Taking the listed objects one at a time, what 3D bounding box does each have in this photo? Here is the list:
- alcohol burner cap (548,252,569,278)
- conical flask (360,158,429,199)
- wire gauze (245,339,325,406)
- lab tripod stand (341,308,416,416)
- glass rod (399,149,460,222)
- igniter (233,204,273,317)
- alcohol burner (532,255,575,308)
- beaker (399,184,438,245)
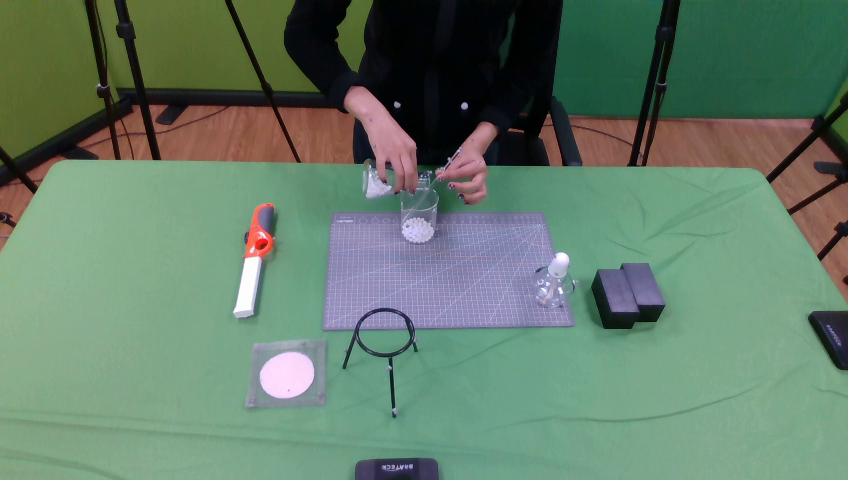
[{"bbox_3d":[0.238,0.042,1.060,0.034,0.048,0.033,1,53,-1],"label":"alcohol burner cap"},{"bbox_3d":[-0.053,-0.111,1.116,0.122,0.075,0.075,1,45,-15],"label":"conical flask"},{"bbox_3d":[-0.224,0.214,0.984,0.125,0.011,0.120,-2,46,-5],"label":"wire gauze"},{"bbox_3d":[-0.061,0.177,0.946,0.148,0.132,0.147,2,44,-2],"label":"lab tripod stand"},{"bbox_3d":[0.007,-0.100,1.145,0.008,0.200,0.008,27,35,-21],"label":"glass rod"},{"bbox_3d":[-0.321,0.029,1.142,0.057,0.025,0.274,-8,46,4],"label":"igniter"},{"bbox_3d":[0.235,0.066,1.087,0.078,0.119,0.077,4,45,-3],"label":"alcohol burner"},{"bbox_3d":[-0.015,-0.046,1.186,0.073,0.101,0.084,36,54,27],"label":"beaker"}]
